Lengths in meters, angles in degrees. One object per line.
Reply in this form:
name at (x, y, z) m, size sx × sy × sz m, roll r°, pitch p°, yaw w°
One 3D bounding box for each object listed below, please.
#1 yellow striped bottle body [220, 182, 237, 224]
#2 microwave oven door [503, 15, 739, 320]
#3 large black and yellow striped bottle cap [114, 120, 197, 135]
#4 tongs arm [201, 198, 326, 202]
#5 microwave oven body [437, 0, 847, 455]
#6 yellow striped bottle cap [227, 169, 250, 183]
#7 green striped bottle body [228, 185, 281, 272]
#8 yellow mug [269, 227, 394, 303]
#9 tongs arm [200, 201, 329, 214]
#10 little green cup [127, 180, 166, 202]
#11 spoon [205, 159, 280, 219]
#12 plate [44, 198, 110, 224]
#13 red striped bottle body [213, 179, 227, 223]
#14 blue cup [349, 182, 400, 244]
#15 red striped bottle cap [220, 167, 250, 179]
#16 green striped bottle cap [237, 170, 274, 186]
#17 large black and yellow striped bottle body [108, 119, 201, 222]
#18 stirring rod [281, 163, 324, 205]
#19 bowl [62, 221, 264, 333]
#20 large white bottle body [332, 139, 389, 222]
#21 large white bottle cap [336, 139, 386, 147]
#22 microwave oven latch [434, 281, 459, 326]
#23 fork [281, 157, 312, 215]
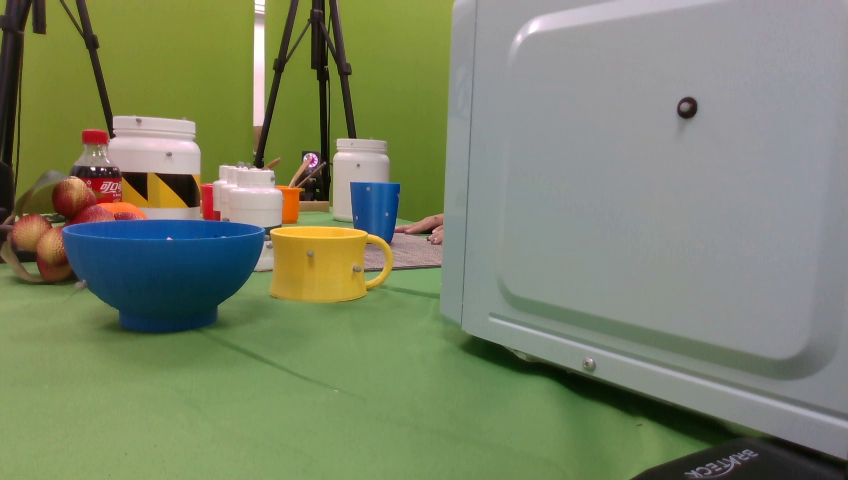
yellow striped bottle body at (-0.246, -0.036, 0.825) m, size 0.063 × 0.120 × 0.063 m, roll 3°, pitch 8°, yaw 0°
microwave oven door at (0.218, -0.065, 0.600) m, size 0.358 × 0.243 × 0.039 m, roll -4°, pitch 10°, yaw -41°
large black and yellow striped bottle cap at (-0.407, -0.171, 0.920) m, size 0.115 × 0.019 × 0.115 m, roll 2°, pitch 9°, yaw 0°
tongs arm at (-0.433, -0.089, 1.508) m, size 0.390 × 0.028 × 0.028 m, roll -1°, pitch 2°, yaw -29°
microwave oven body at (0.279, -0.040, 0.464) m, size 0.444 × 0.260 × 0.324 m, roll -3°, pitch 8°, yaw -41°
yellow striped bottle cap at (-0.243, -0.086, 0.818) m, size 0.044 × 0.018 × 0.044 m, roll 3°, pitch 6°, yaw 0°
green striped bottle body at (-0.208, -0.023, 0.745) m, size 0.063 × 0.119 × 0.063 m, roll 2°, pitch 7°, yaw 0°
yellow mug at (-0.094, 0.023, 0.629) m, size 0.131 × 0.064 × 0.099 m, roll 0°, pitch 7°, yaw -22°
tongs arm at (-0.378, -0.079, 1.440) m, size 0.387 × 0.026 × 0.050 m, roll -4°, pitch 7°, yaw -44°
little green cup at (-0.486, -0.086, 1.061) m, size 0.061 × 0.038 × 0.061 m, roll 1°, pitch 7°, yaw 0°
spoon at (-0.365, -0.103, 1.214) m, size 0.193 × 0.021 × 0.041 m, roll -42°, pitch 4°, yaw 6°
plate at (-0.617, -0.056, 1.179) m, size 0.209 × 0.038 × 0.209 m, roll 3°, pitch 7°, yaw 0°
red striped bottle body at (-0.284, -0.048, 0.909) m, size 0.063 × 0.119 × 0.063 m, roll 3°, pitch 11°, yaw 0°
blue cup at (-0.083, -0.046, 1.009) m, size 0.093 × 0.100 × 0.092 m, roll 1°, pitch 6°, yaw 0°
red striped bottle cap at (-0.281, -0.100, 0.901) m, size 0.044 × 0.017 × 0.044 m, roll -1°, pitch 5°, yaw 0°
green striped bottle cap at (-0.205, -0.075, 0.737) m, size 0.044 × 0.020 × 0.044 m, roll 2°, pitch 6°, yaw 0°
large black and yellow striped bottle body at (-0.412, -0.088, 0.930) m, size 0.131 × 0.184 × 0.130 m, roll 3°, pitch 7°, yaw 0°
stirring rod at (-0.278, -0.105, 1.294) m, size 0.176 × 0.006 × 0.014 m, roll -47°, pitch 26°, yaw -18°
bowl at (-0.209, 0.029, 0.496) m, size 0.151 × 0.077 × 0.151 m, roll 2°, pitch 6°, yaw 0°
large white bottle body at (-0.145, -0.136, 1.387) m, size 0.131 × 0.184 × 0.130 m, roll 2°, pitch 7°, yaw 0°
large white bottle cap at (-0.143, -0.219, 1.375) m, size 0.115 × 0.018 × 0.115 m, roll 2°, pitch 8°, yaw 0°
microwave oven latch at (0.044, 0.045, 0.470) m, size 0.079 × 0.029 × 0.030 m, roll -2°, pitch 8°, yaw -39°
fork at (-0.289, -0.116, 1.321) m, size 0.028 × 0.019 × 0.207 m, roll 6°, pitch 51°, yaw 19°
